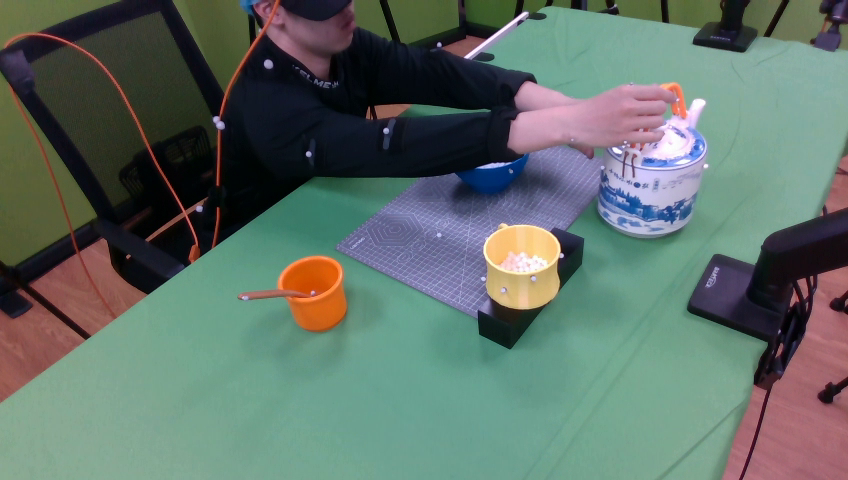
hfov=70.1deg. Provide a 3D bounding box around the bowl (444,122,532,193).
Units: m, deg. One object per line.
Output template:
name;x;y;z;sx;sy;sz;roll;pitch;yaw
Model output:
bowl;0.114;-0.136;1.063;0.151;0.077;0.150;-5;41;4

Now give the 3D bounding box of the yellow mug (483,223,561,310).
yellow mug;0.125;0.025;0.811;0.100;0.064;0.130;-15;39;-10

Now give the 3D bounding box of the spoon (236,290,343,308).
spoon;-0.175;0.076;0.808;0.041;0.195;0.021;23;93;30

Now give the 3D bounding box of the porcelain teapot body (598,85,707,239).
porcelain teapot body;0.362;-0.137;0.921;0.144;0.226;0.206;28;51;36

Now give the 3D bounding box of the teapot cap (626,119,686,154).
teapot cap;0.338;-0.153;0.882;0.085;0.044;0.085;-3;38;3
